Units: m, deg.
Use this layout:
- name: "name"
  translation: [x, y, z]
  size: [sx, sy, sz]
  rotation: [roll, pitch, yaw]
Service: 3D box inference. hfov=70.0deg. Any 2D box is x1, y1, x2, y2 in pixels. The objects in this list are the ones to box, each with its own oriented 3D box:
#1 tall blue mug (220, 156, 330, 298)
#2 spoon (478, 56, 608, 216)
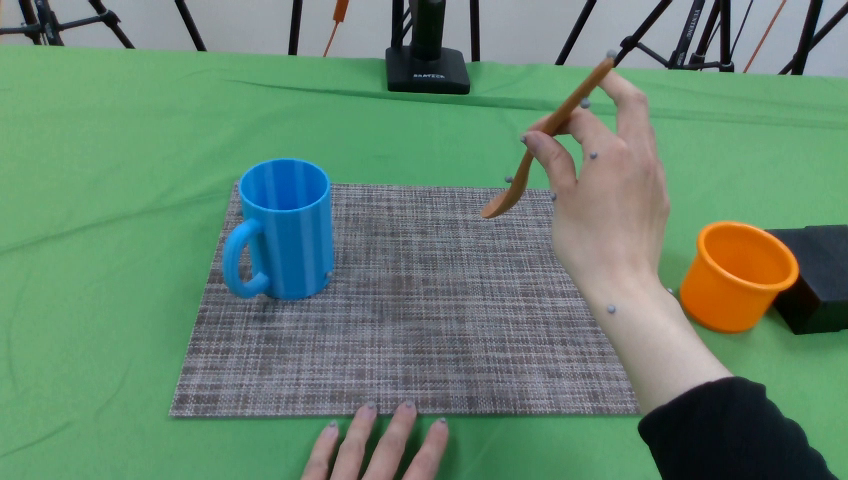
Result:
- name: "tall blue mug"
  translation: [-0.127, 0.000, 0.541]
  size: [0.078, 0.109, 0.106]
  rotation: [8, 43, 0]
- name: "spoon"
  translation: [0.081, -0.068, 0.447]
  size: [0.021, 0.194, 0.041]
  rotation: [37, 60, 6]
